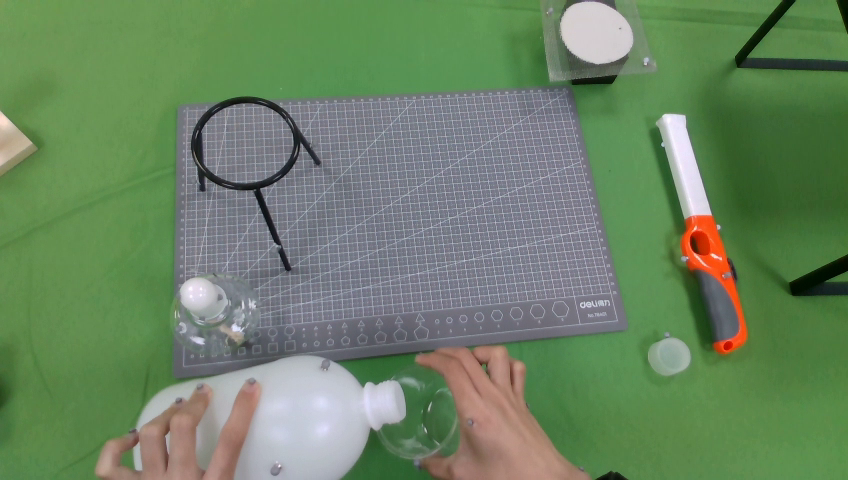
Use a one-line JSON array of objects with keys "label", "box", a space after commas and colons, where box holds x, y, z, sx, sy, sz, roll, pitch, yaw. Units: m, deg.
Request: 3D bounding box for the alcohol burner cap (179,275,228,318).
[{"label": "alcohol burner cap", "box": [-0.185, 0.046, 0.504, 0.034, 0.048, 0.033, 1, 75, -5]}]

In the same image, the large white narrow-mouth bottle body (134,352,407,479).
[{"label": "large white narrow-mouth bottle body", "box": [-0.109, 0.140, 0.462, 0.194, 0.102, 0.101, -15, 70, 10]}]

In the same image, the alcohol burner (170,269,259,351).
[{"label": "alcohol burner", "box": [-0.189, 0.057, 0.538, 0.078, 0.119, 0.077, 3, 68, -6]}]

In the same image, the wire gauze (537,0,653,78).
[{"label": "wire gauze", "box": [0.192, -0.241, 0.692, 0.122, 0.011, 0.124, -3, 71, -7]}]

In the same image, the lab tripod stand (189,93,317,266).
[{"label": "lab tripod stand", "box": [-0.156, -0.061, 0.574, 0.149, 0.132, 0.147, 3, 70, -7]}]

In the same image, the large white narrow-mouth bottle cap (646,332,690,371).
[{"label": "large white narrow-mouth bottle cap", "box": [0.247, 0.114, 0.614, 0.038, 0.024, 0.037, 2, 69, -4]}]

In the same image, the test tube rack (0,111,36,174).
[{"label": "test tube rack", "box": [-0.507, -0.053, 0.564, 0.066, 0.085, 0.242, 42, 71, 10]}]

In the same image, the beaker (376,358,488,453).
[{"label": "beaker", "box": [0.008, 0.147, 0.528, 0.083, 0.101, 0.073, 4, 73, 25]}]

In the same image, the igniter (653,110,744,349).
[{"label": "igniter", "box": [0.298, -0.019, 0.663, 0.057, 0.025, 0.274, 0, 70, -17]}]
